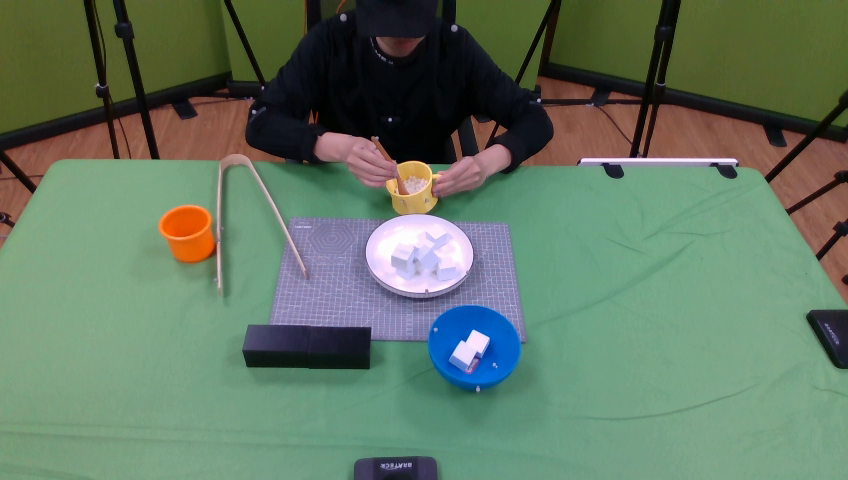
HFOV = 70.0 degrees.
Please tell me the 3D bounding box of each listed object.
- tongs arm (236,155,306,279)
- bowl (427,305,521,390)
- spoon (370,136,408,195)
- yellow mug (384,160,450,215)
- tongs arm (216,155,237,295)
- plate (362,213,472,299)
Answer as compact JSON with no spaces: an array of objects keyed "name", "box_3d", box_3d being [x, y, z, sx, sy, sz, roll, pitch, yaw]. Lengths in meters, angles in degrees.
[{"name":"tongs arm","box_3d":[-0.312,-0.058,1.225,0.028,0.028,0.385,-22,50,-19]},{"name":"bowl","box_3d":[0.076,0.188,0.985,0.151,0.077,0.150,3,46,-3]},{"name":"spoon","box_3d":[-0.061,-0.133,1.192,0.021,0.195,0.041,-45,44,-19]},{"name":"yellow mug","box_3d":[-0.012,-0.109,1.250,0.131,0.064,0.099,-10,51,6]},{"name":"tongs arm","box_3d":[-0.388,-0.043,1.201,0.051,0.026,0.382,-9,46,-12]},{"name":"plate","box_3d":[-0.013,0.034,1.150,0.208,0.039,0.206,2,46,-2]}]
